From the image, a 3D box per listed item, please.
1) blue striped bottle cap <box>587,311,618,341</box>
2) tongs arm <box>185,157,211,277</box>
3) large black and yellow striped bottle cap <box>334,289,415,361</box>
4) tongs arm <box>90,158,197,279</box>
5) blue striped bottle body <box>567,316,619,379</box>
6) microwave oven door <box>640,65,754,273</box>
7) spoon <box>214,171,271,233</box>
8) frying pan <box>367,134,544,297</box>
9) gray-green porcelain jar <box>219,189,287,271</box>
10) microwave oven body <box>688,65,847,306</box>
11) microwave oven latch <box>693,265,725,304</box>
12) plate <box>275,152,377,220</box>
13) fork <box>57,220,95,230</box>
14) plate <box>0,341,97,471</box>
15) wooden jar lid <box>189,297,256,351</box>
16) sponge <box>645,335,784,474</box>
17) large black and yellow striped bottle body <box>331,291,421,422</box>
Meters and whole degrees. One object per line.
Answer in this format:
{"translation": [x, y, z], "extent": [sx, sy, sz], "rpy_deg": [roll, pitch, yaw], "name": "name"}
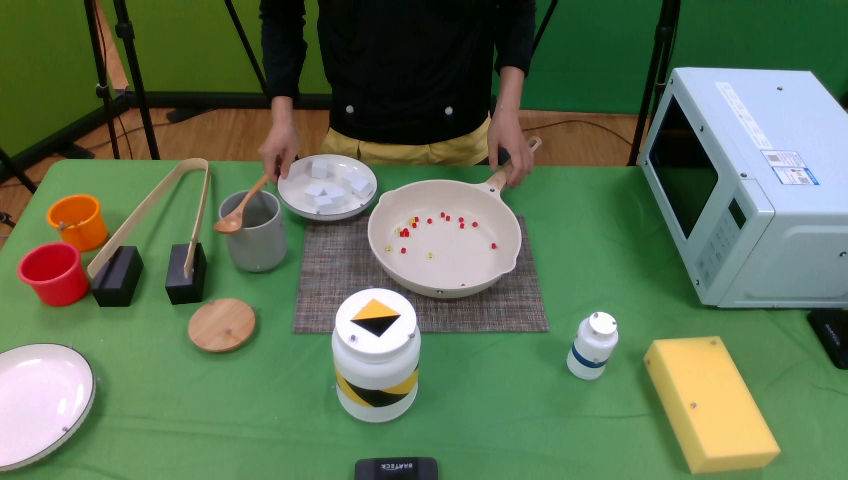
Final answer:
{"translation": [0.279, 0.134, 0.947], "extent": [0.044, 0.021, 0.044], "rpy_deg": [2, 45, -2], "name": "blue striped bottle cap"}
{"translation": [-0.446, -0.057, 1.168], "extent": [0.051, 0.026, 0.382], "rpy_deg": [-5, 37, -5], "name": "tongs arm"}
{"translation": [-0.069, 0.117, 0.850], "extent": [0.115, 0.019, 0.114], "rpy_deg": [2, 45, -2], "name": "large black and yellow striped bottle cap"}
{"translation": [-0.530, -0.056, 1.164], "extent": [0.028, 0.028, 0.385], "rpy_deg": [0, 36, 8], "name": "tongs arm"}
{"translation": [0.276, 0.168, 0.984], "extent": [0.063, 0.121, 0.062], "rpy_deg": [2, 46, -2], "name": "blue striped bottle body"}
{"translation": [0.523, -0.147, 1.193], "extent": [0.039, 0.245, 0.353], "rpy_deg": [0, 47, -3], "name": "microwave oven door"}
{"translation": [-0.312, -0.070, 1.070], "extent": [0.041, 0.022, 0.193], "rpy_deg": [10, 43, 10], "name": "spoon"}
{"translation": [0.104, -0.069, 1.205], "extent": [0.305, 0.103, 0.487], "rpy_deg": [32, 61, 23], "name": "frying pan"}
{"translation": [-0.310, -0.014, 1.113], "extent": [0.106, 0.127, 0.105], "rpy_deg": [2, 46, -2], "name": "gray-green porcelain jar"}
{"translation": [0.669, -0.111, 1.176], "extent": [0.326, 0.261, 0.439], "rpy_deg": [0, 46, -3], "name": "microwave oven body"}
{"translation": [0.523, 0.081, 1.116], "extent": [0.030, 0.029, 0.078], "rpy_deg": [2, 46, -1], "name": "microwave oven latch"}
{"translation": [-0.203, -0.109, 1.268], "extent": [0.208, 0.039, 0.206], "rpy_deg": [4, 44, -3], "name": "plate"}
{"translation": [-0.624, -0.027, 1.086], "extent": [0.028, 0.207, 0.018], "rpy_deg": [-2, 92, -17], "name": "fork"}
{"translation": [-0.599, 0.247, 0.904], "extent": [0.209, 0.038, 0.208], "rpy_deg": [2, 47, -2], "name": "plate"}
{"translation": [-0.342, 0.145, 1.033], "extent": [0.108, 0.021, 0.107], "rpy_deg": [2, 45, -2], "name": "wooden jar lid"}
{"translation": [0.449, 0.253, 0.956], "extent": [0.118, 0.061, 0.205], "rpy_deg": [-4, 46, -7], "name": "sponge"}
{"translation": [-0.071, 0.175, 0.911], "extent": [0.131, 0.185, 0.130], "rpy_deg": [2, 47, -2], "name": "large black and yellow striped bottle body"}
